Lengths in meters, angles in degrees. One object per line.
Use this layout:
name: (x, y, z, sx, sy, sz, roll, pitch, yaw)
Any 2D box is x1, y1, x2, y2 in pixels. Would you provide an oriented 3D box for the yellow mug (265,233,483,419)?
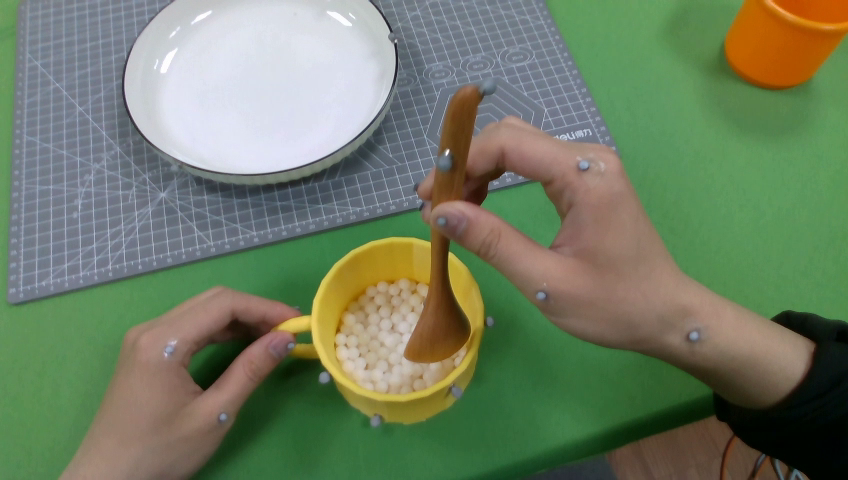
yellow mug: (-0.031, 0.055, 0.371, 0.131, 0.064, 0.099, -6, 64, -2)

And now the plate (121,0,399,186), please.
plate: (-0.122, -0.127, 0.472, 0.208, 0.039, 0.206, 0, 64, 0)

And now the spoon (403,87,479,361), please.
spoon: (0.008, 0.008, 0.290, 0.042, 0.195, 0.021, -14, 49, -13)
